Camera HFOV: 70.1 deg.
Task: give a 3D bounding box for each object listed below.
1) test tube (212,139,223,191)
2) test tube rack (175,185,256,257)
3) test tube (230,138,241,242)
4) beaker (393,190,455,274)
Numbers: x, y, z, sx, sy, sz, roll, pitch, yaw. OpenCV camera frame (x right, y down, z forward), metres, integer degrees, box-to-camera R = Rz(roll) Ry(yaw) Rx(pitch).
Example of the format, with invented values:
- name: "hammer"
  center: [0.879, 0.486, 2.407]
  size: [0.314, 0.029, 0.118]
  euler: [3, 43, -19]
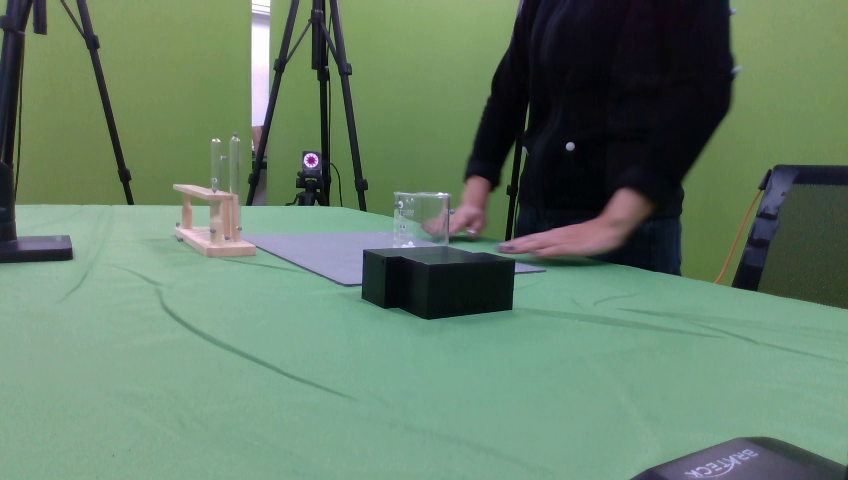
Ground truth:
- name: "test tube"
  center: [-0.329, -0.086, 0.965]
  size: [0.017, 0.150, 0.017]
  euler: [1, 6, 0]
- name: "test tube rack"
  center: [-0.324, -0.035, 0.922]
  size: [0.067, 0.085, 0.241]
  euler: [-2, 9, -32]
- name: "test tube"
  center: [-0.270, -0.071, 0.866]
  size: [0.017, 0.150, 0.017]
  euler: [2, 8, 0]
- name: "beaker"
  center: [-0.005, -0.011, 0.760]
  size: [0.074, 0.100, 0.083]
  euler: [-2, 8, -32]
